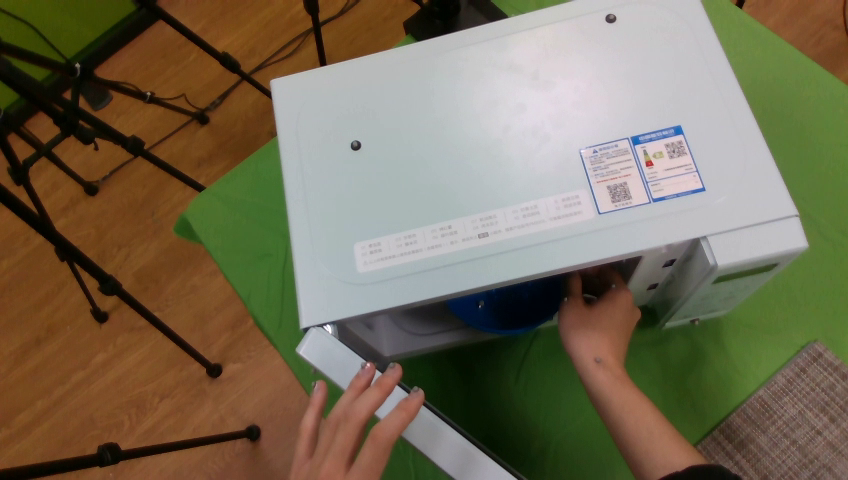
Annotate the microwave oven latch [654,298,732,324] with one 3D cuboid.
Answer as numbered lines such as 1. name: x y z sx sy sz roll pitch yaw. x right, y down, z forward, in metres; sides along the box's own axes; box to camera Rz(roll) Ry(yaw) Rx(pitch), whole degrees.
1. microwave oven latch: 0.311 0.075 0.700 0.079 0.030 0.030 -12 69 5

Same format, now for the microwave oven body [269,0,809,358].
1. microwave oven body: 0.096 -0.052 0.676 0.441 0.262 0.323 -14 69 5

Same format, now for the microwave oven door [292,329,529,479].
1. microwave oven door: 0.050 0.214 0.580 0.353 0.246 0.039 33 78 18

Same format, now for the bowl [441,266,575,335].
1. bowl: 0.088 0.040 0.673 0.151 0.077 0.150 -3 68 7
